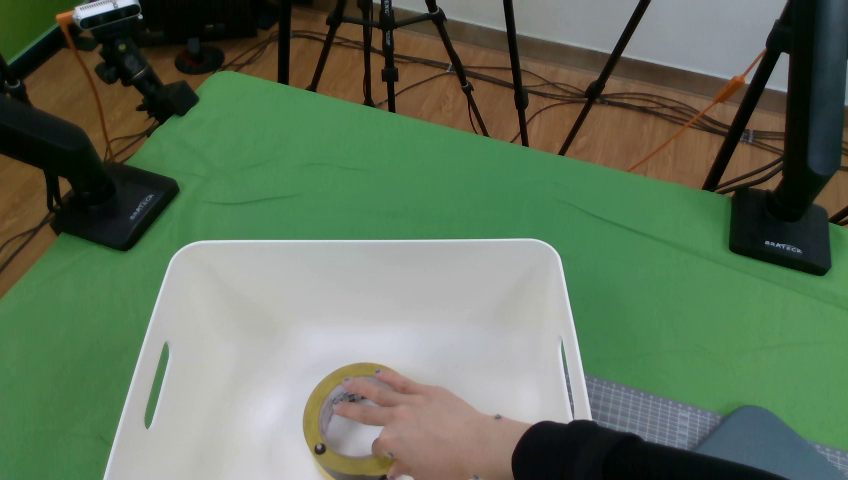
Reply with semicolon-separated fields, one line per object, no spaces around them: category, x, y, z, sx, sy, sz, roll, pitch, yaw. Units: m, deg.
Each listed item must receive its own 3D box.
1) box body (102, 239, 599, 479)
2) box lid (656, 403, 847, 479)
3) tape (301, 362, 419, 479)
box body;-0.053;0.147;0.560;0.364;0.162;0.251;-1;52;-1
box lid;0.355;0.342;0.514;0.263;0.015;0.368;-31;59;-23
tape;-0.062;0.180;0.595;0.117;0.053;0.115;1;51;-1
